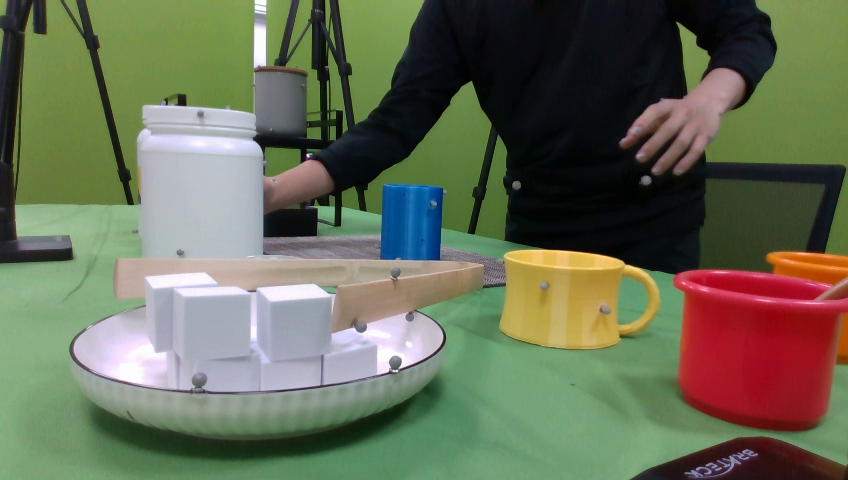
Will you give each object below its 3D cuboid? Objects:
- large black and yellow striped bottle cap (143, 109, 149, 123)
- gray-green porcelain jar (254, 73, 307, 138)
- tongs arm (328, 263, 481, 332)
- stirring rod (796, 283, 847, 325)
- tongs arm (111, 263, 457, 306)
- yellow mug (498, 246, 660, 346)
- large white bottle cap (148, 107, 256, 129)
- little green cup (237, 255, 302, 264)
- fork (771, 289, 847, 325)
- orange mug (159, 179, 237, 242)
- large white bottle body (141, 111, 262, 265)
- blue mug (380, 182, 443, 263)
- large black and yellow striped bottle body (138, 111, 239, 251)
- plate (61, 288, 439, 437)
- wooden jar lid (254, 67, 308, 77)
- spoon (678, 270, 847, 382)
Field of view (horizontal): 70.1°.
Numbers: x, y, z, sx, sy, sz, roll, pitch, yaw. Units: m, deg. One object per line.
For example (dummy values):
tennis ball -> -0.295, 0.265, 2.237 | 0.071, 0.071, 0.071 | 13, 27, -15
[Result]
large black and yellow striped bottle cap -> -0.324, -0.167, 0.832 | 0.115, 0.019, 0.115 | 3, 8, 0
gray-green porcelain jar -> -0.298, -0.277, 1.259 | 0.106, 0.126, 0.106 | 3, 7, 0
tongs arm -> -0.003, 0.036, 0.492 | 0.050, 0.026, 0.386 | 1, -1, 19
stirring rod -> 0.347, 0.019, 0.460 | 0.014, 0.176, 0.006 | -16, 59, -26
tongs arm -> -0.080, 0.033, 0.527 | 0.028, 0.027, 0.389 | -4, -4, 33
yellow mug -> 0.130, 0.045, 0.508 | 0.131, 0.064, 0.100 | 4, 7, 6
large white bottle cap -> -0.250, -0.137, 0.686 | 0.115, 0.018, 0.115 | 3, 8, 0
little green cup -> -0.150, 0.038, 0.590 | 0.061, 0.038, 0.061 | 3, 6, 0
fork -> 0.335, 0.018, 0.443 | 0.028, 0.018, 0.207 | -1, -36, -20
orange mug -> -0.368, -0.052, 0.991 | 0.127, 0.101, 0.083 | -10, 14, -41
large white bottle body -> -0.254, -0.054, 0.697 | 0.131, 0.184, 0.130 | 2, 7, 0
blue mug -> -0.019, -0.026, 0.833 | 0.082, 0.106, 0.116 | 1, 7, -6
large black and yellow striped bottle body -> -0.327, -0.085, 0.846 | 0.131, 0.184, 0.130 | 3, 9, 0
plate -> -0.095, 0.069, 0.362 | 0.208, 0.039, 0.207 | 3, 7, 0
wooden jar lid -> -0.296, -0.339, 1.251 | 0.108, 0.020, 0.108 | 2, 7, 0
spoon -> 0.229, 0.031, 0.338 | 0.193, 0.021, 0.042 | -44, -16, 27
